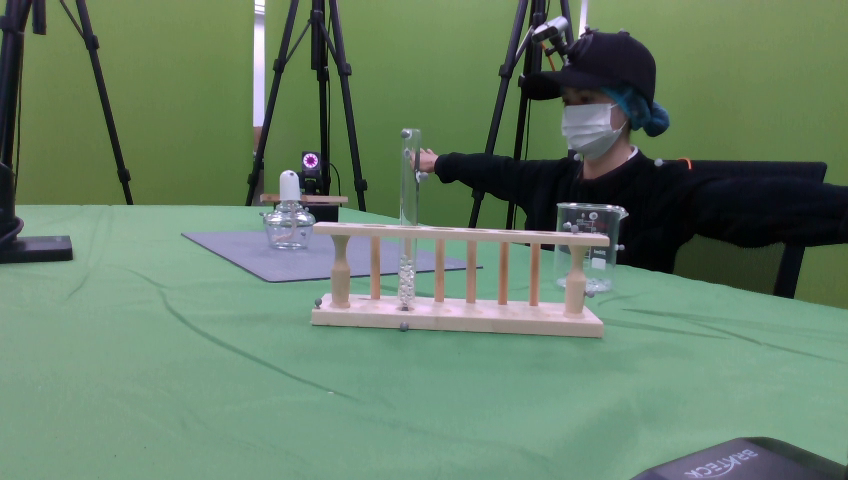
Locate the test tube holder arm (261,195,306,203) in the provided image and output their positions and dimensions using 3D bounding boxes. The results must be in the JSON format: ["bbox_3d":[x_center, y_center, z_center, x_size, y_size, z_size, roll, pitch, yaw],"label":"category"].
[{"bbox_3d":[-0.275,-0.081,1.184,0.088,0.015,0.010,-1,0,-32],"label":"test tube holder arm"}]

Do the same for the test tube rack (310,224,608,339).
[{"bbox_3d":[0.028,0.032,0.528,0.242,0.085,0.067,3,7,0],"label":"test tube rack"}]

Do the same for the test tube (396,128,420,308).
[{"bbox_3d":[-0.014,-0.016,0.501,0.017,0.150,0.017,2,11,0],"label":"test tube"}]

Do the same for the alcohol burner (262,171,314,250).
[{"bbox_3d":[-0.205,-0.045,0.913,0.078,0.119,0.078,1,9,0],"label":"alcohol burner"}]

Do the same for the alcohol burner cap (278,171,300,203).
[{"bbox_3d":[-0.203,-0.080,0.909,0.034,0.048,0.034,-1,3,0],"label":"alcohol burner cap"}]

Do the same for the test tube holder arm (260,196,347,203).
[{"bbox_3d":[-0.239,-0.082,1.213,0.179,0.015,0.013,-1,0,-32],"label":"test tube holder arm"}]

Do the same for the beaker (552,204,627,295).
[{"bbox_3d":[0.191,0.010,0.708,0.083,0.100,0.074,8,9,33],"label":"beaker"}]
